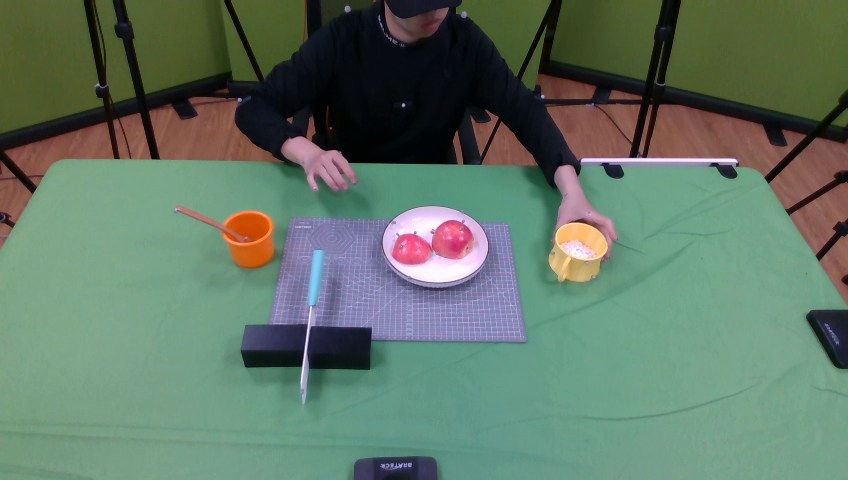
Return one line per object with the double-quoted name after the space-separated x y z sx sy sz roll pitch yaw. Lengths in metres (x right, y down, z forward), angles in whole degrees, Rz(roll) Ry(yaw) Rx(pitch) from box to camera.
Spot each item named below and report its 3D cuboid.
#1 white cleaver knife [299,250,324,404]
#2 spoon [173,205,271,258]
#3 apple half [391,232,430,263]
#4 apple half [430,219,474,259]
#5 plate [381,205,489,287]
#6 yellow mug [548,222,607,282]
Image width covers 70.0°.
-0.194 0.134 1.019 0.021 0.066 0.284 5 50 -5 "white cleaver knife"
-0.362 -0.017 1.098 0.021 0.195 0.041 -32 42 27 "spoon"
-0.024 0.009 1.163 0.081 0.033 0.081 2 43 -2 "apple half"
0.056 -0.008 1.172 0.081 0.053 0.074 -33 59 -31 "apple half"
0.021 0.015 1.170 0.209 0.038 0.208 2 46 -2 "plate"
0.287 0.031 1.160 0.099 0.064 0.130 28 52 21 "yellow mug"
